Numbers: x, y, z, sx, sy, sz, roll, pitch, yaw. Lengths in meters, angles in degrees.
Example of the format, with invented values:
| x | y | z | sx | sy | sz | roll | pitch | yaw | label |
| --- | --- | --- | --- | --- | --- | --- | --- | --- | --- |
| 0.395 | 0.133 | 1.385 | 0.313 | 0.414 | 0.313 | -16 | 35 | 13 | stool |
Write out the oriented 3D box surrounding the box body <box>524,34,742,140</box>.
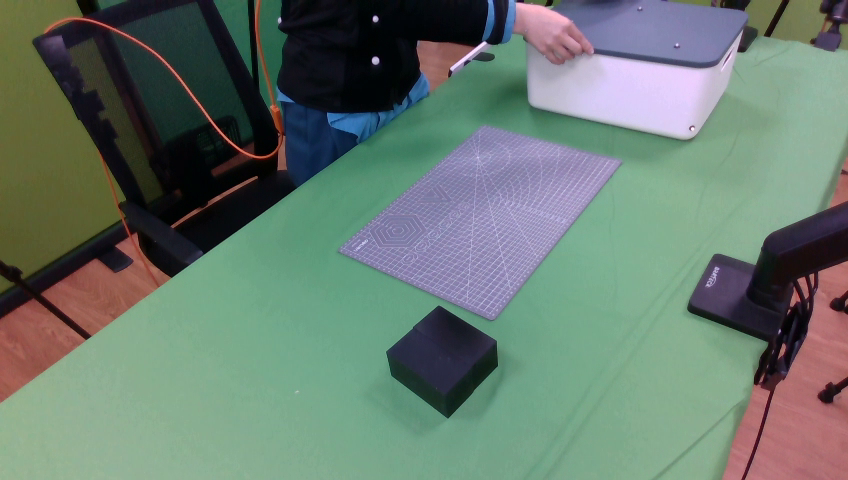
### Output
| x | y | z | sx | sy | sz | roll | pitch | yaw | label |
| --- | --- | --- | --- | --- | --- | --- | --- | --- | --- |
| 0.412 | -0.354 | 1.212 | 0.361 | 0.161 | 0.254 | 20 | 48 | 29 | box body |

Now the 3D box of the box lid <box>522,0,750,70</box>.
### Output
| x | y | z | sx | sy | sz | roll | pitch | yaw | label |
| --- | --- | --- | --- | --- | --- | --- | --- | --- | --- |
| 0.405 | -0.409 | 1.163 | 0.369 | 0.015 | 0.264 | 20 | 47 | 29 | box lid |
